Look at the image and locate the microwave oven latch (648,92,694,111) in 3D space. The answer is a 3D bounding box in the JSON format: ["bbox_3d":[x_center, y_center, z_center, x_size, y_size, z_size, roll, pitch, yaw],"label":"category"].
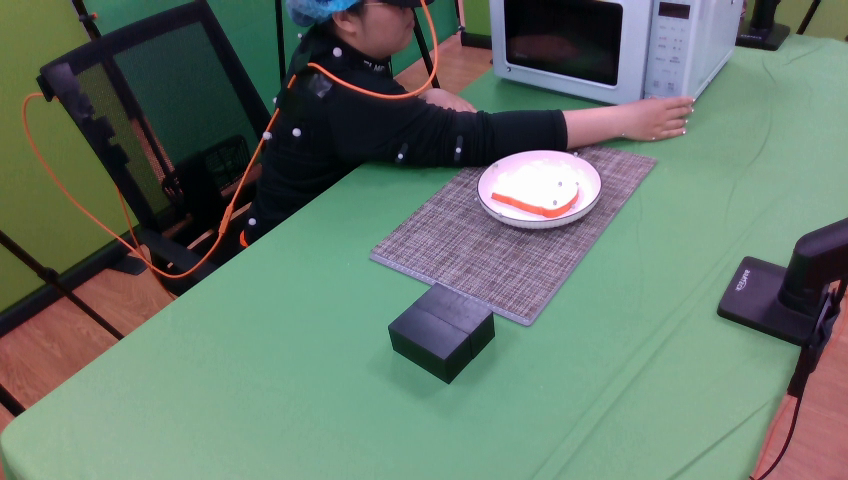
[{"bbox_3d":[0.479,-0.274,1.178,0.078,0.029,0.030,26,53,36],"label":"microwave oven latch"}]

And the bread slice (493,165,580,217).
[{"bbox_3d":[0.200,-0.084,1.034,0.130,0.019,0.105,23,50,35],"label":"bread slice"}]

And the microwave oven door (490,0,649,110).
[{"bbox_3d":[0.287,-0.415,1.223,0.353,0.245,0.039,25,51,34],"label":"microwave oven door"}]

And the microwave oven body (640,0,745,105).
[{"bbox_3d":[0.416,-0.486,1.290,0.438,0.261,0.327,21,50,33],"label":"microwave oven body"}]

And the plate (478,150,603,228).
[{"bbox_3d":[0.198,-0.084,1.030,0.209,0.038,0.208,-5,40,5],"label":"plate"}]
